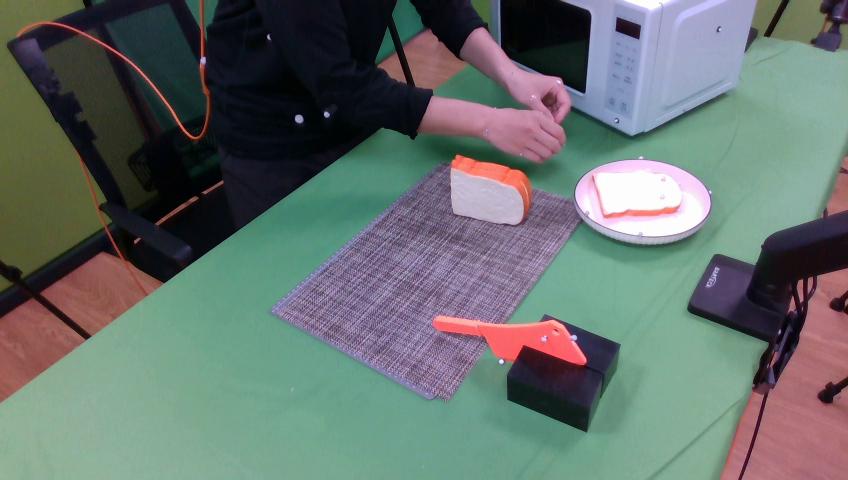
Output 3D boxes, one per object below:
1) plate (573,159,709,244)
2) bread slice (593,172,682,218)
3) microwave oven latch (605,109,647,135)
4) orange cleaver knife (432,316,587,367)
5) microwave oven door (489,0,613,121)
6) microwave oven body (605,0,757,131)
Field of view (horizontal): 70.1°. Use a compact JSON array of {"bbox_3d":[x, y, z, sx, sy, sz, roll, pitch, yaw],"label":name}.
[{"bbox_3d":[0.347,-0.059,0.979,0.207,0.039,0.206,-4,41,4],"label":"plate"},{"bbox_3d":[0.351,-0.076,0.995,0.134,0.018,0.106,-4,44,1],"label":"bread slice"},{"bbox_3d":[0.379,-0.225,1.139,0.030,0.029,0.078,-26,43,-20],"label":"microwave oven latch"},{"bbox_3d":[0.101,0.127,0.761,0.210,0.077,0.012,-1,34,40],"label":"orange cleaver knife"},{"bbox_3d":[0.252,-0.414,1.220,0.039,0.245,0.352,-28,45,-20],"label":"microwave oven door"},{"bbox_3d":[0.396,-0.448,1.248,0.327,0.261,0.437,-27,44,-21],"label":"microwave oven body"}]
